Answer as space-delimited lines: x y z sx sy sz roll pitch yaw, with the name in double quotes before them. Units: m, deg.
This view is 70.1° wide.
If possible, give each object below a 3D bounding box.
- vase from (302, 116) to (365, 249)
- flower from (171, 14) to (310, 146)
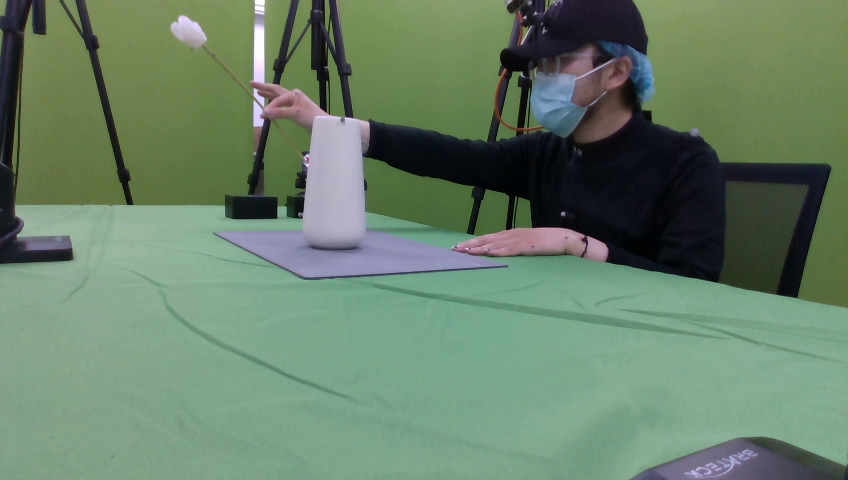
"vase" -0.139 -0.088 0.931 0.098 0.200 0.098 1 9 0
"flower" -0.334 -0.290 1.173 0.044 0.038 0.363 -17 -44 33
